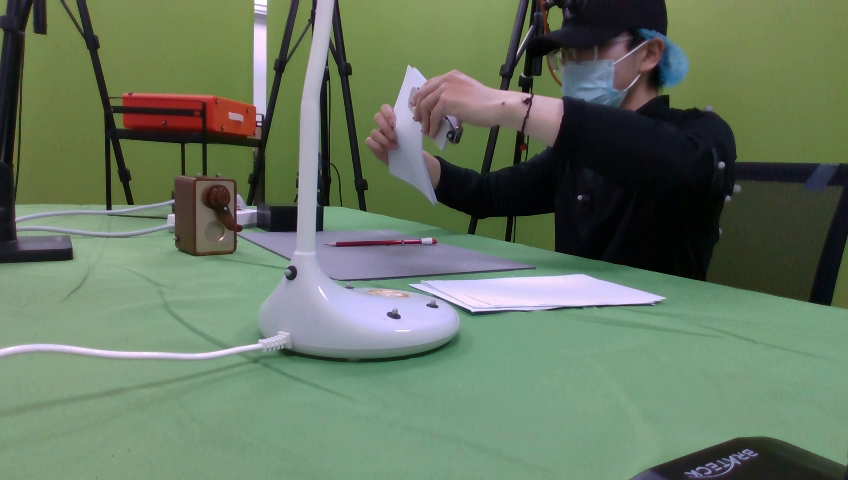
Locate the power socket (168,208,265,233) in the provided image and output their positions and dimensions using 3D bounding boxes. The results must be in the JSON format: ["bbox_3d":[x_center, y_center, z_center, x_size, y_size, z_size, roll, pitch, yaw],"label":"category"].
[{"bbox_3d":[-0.381,-0.038,1.129,0.072,0.032,0.227,4,8,17],"label":"power socket"}]

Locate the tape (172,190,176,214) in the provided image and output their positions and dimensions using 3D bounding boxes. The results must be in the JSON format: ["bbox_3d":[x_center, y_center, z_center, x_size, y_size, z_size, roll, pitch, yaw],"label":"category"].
[{"bbox_3d":[-0.515,-0.087,1.388,0.117,0.052,0.117,3,7,0],"label":"tape"}]

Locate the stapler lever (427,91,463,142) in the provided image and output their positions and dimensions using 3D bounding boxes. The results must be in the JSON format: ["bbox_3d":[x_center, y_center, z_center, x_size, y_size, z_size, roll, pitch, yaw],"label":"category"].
[{"bbox_3d":[0.034,-0.191,0.925,0.040,0.027,0.117,-6,43,-28],"label":"stapler lever"}]

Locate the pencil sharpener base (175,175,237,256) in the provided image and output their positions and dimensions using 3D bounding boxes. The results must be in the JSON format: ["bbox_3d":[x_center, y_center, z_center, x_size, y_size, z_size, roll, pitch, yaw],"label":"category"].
[{"bbox_3d":[-0.304,-0.036,0.847,0.062,0.107,0.076,-4,10,-42],"label":"pencil sharpener base"}]

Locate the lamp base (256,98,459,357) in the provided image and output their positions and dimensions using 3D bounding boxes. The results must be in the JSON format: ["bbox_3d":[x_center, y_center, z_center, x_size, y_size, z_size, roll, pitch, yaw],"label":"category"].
[{"bbox_3d":[-0.055,-0.013,0.463,0.160,0.180,0.180,6,11,27],"label":"lamp base"}]

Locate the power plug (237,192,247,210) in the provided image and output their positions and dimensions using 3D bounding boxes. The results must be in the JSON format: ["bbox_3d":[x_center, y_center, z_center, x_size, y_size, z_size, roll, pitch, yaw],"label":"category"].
[{"bbox_3d":[-0.386,-0.071,1.204,0.072,0.052,0.035,7,8,26],"label":"power plug"}]

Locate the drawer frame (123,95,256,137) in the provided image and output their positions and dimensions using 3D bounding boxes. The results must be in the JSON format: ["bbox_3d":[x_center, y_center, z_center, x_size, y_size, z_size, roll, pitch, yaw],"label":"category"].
[{"bbox_3d":[-0.524,-0.281,1.376,0.213,0.082,0.202,3,8,8],"label":"drawer frame"}]

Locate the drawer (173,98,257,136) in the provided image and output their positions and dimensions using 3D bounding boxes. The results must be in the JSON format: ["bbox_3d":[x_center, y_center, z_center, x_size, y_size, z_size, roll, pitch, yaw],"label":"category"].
[{"bbox_3d":[-0.518,-0.279,1.376,0.211,0.073,0.195,3,8,9],"label":"drawer"}]

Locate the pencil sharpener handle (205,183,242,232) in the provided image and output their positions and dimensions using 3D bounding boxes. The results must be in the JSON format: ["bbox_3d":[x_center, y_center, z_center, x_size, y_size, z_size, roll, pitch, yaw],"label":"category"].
[{"bbox_3d":[-0.265,-0.043,0.813,0.036,0.068,0.030,-32,28,-35],"label":"pencil sharpener handle"}]

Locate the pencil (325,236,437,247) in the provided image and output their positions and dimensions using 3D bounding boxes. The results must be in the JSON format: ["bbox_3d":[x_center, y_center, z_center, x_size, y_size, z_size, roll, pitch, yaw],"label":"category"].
[{"bbox_3d":[-0.066,0.003,0.980,0.195,0.012,0.012,-3,9,-25],"label":"pencil"}]

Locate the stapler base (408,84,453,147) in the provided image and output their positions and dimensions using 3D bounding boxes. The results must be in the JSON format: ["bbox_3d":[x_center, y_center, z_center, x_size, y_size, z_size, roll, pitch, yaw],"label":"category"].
[{"bbox_3d":[0.012,-0.190,0.914,0.024,0.041,0.130,-5,42,-27],"label":"stapler base"}]
